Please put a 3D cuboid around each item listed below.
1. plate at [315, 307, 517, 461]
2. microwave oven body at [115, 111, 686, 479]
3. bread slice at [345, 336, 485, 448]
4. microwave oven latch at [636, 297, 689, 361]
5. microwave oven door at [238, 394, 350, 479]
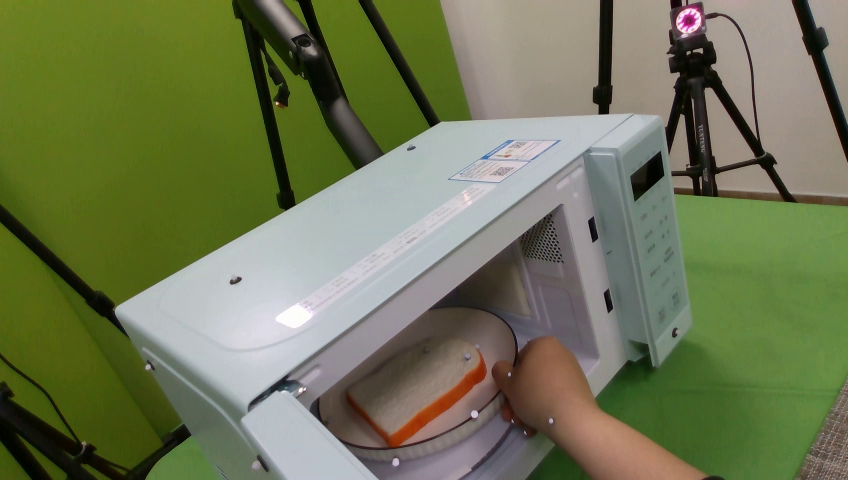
[{"bbox_3d":[-0.005,0.142,0.605,0.209,0.038,0.207,-17,24,8],"label":"plate"},{"bbox_3d":[-0.001,0.078,0.608,0.441,0.262,0.323,-36,30,-32],"label":"microwave oven body"},{"bbox_3d":[-0.007,0.143,0.609,0.131,0.019,0.104,-32,28,-22],"label":"bread slice"},{"bbox_3d":[0.249,0.091,0.633,0.079,0.030,0.030,-36,29,-31],"label":"microwave oven latch"},{"bbox_3d":[0.041,0.223,0.251,0.039,0.246,0.352,-32,27,-26],"label":"microwave oven door"}]
